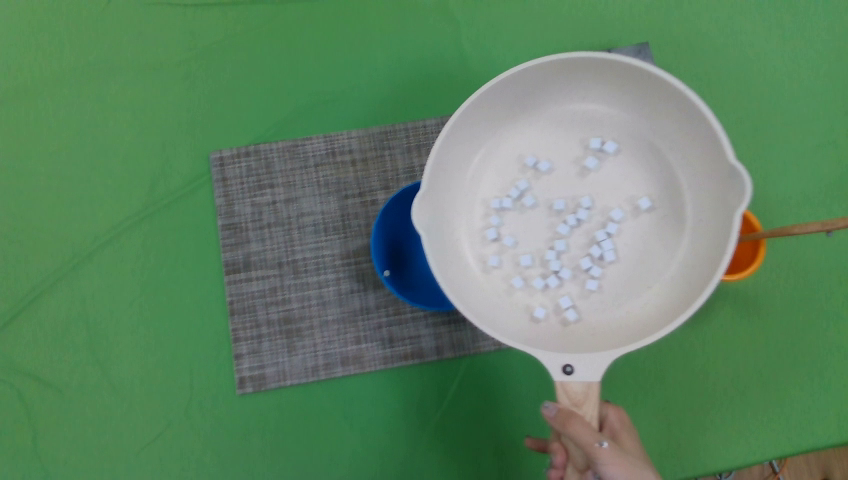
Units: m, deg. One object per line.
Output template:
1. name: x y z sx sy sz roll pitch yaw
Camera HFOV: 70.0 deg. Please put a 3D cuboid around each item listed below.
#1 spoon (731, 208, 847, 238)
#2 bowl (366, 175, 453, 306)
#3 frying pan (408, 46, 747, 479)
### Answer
1. spoon: 0.367 -0.011 0.674 0.022 0.193 0.041 10 74 -44
2. bowl: 0.013 0.006 0.697 0.151 0.077 0.150 0 79 -1
3. frying pan: 0.134 0.062 0.559 0.306 0.103 0.485 -3 72 19
